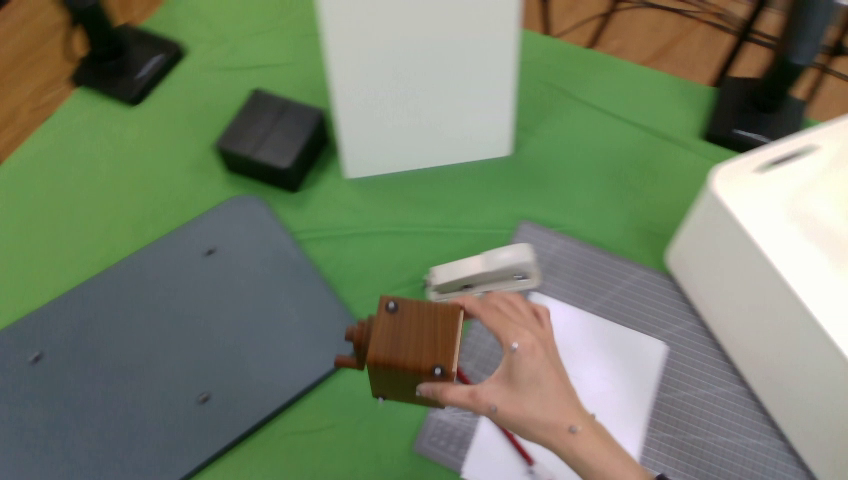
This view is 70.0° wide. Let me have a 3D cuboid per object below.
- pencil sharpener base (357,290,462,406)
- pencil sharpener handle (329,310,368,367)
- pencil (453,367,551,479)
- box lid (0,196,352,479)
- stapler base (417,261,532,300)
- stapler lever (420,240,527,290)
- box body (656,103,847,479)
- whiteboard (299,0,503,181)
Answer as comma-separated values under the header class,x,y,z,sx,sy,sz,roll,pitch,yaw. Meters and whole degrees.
class,x,y,z,sx,sy,sz,roll,pitch,yaw
pencil sharpener base,-0.013,0.093,0.508,0.076,0.108,0.061,8,61,3
pencil sharpener handle,-0.064,0.083,0.497,0.030,0.068,0.035,8,46,3
pencil,0.062,0.172,0.620,0.012,0.012,0.192,-34,64,-18
box lid,-0.289,0.123,0.648,0.371,0.015,0.261,-35,66,-19
stapler base,0.058,0.040,0.688,0.130,0.024,0.041,-11,57,-3
stapler lever,0.055,0.027,0.666,0.118,0.040,0.026,-10,56,-3
box body,0.440,0.067,0.596,0.254,0.161,0.360,-22,63,-13
whiteboard,-0.029,-0.251,0.728,0.217,0.308,0.142,-9,41,-5
